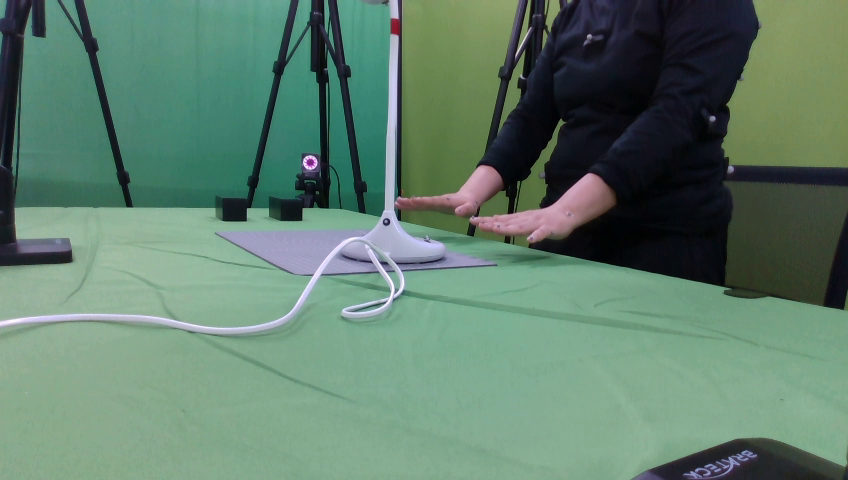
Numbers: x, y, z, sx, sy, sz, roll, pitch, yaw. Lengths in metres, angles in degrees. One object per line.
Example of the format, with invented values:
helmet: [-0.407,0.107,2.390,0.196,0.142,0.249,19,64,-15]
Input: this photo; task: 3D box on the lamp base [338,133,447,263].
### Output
lamp base: [-0.043,-0.062,0.868,0.161,0.180,0.179,2,10,-3]

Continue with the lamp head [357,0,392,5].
lamp head: [-0.056,-0.383,0.819,0.113,0.112,0.122,0,13,-22]
